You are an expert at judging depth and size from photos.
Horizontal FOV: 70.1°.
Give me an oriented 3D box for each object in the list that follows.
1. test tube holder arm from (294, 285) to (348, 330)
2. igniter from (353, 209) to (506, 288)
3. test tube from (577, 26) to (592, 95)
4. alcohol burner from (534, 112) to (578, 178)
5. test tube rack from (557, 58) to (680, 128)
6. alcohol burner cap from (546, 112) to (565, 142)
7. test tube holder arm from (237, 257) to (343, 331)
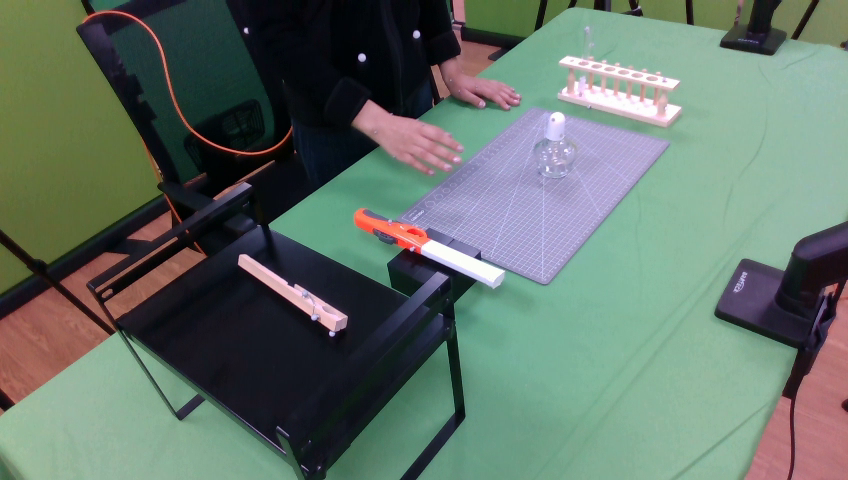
[{"bbox_3d":[-0.113,0.070,0.635,0.087,0.015,0.010,25,17,35],"label":"test tube holder arm"},{"bbox_3d":[-0.003,0.006,0.892,0.274,0.025,0.057,24,37,31],"label":"igniter"},{"bbox_3d":[0.325,-0.361,1.226,0.017,0.151,0.017,-3,45,4],"label":"test tube"},{"bbox_3d":[0.232,-0.170,1.065,0.078,0.119,0.077,-5,39,5],"label":"alcohol burner"},{"bbox_3d":[0.395,-0.309,1.230,0.240,0.085,0.067,25,50,33],"label":"test tube rack"},{"bbox_3d":[0.229,-0.197,1.042,0.034,0.048,0.033,-1,45,2],"label":"alcohol burner cap"},{"bbox_3d":[-0.150,0.055,0.657,0.177,0.015,0.013,24,17,35],"label":"test tube holder arm"}]
